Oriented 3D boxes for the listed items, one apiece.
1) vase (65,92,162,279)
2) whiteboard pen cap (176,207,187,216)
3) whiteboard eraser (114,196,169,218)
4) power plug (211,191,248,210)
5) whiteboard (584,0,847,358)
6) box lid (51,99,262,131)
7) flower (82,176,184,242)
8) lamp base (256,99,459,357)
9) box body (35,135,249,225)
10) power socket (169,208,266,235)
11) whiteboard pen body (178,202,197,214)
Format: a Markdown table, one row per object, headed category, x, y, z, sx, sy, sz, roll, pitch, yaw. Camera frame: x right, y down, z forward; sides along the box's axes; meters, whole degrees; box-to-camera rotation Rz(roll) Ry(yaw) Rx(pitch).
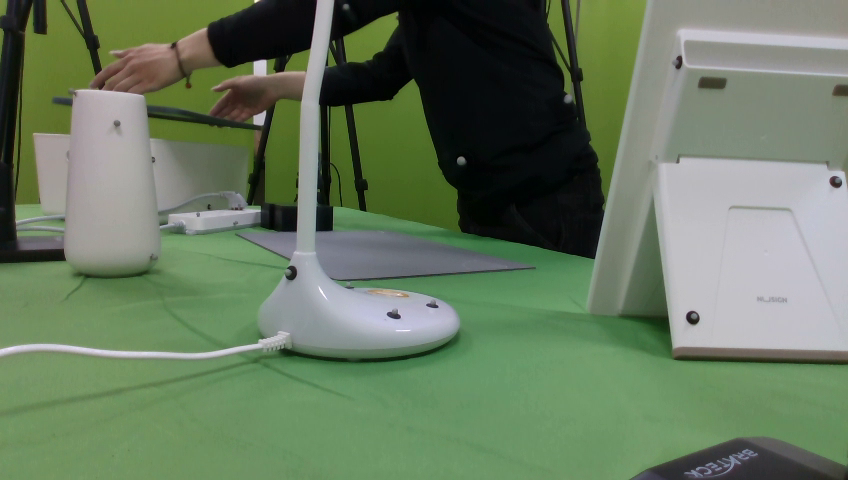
| category | x | y | z | sx | sy | sz | roll | pitch | yaw |
| --- | --- | --- | --- | --- | --- | --- | --- | --- | --- |
| vase | -0.347 | -0.060 | 0.673 | 0.098 | 0.200 | 0.098 | 1 | 7 | 0 |
| whiteboard pen cap | -0.511 | -0.061 | 1.274 | 0.018 | 0.018 | 0.033 | 1 | 11 | -12 |
| whiteboard eraser | -0.545 | -0.064 | 1.173 | 0.055 | 0.042 | 0.112 | 3 | 6 | 3 |
| power plug | -0.384 | -0.072 | 1.206 | 0.072 | 0.052 | 0.035 | 2 | 8 | 28 |
| whiteboard | 0.269 | -0.034 | 0.466 | 0.217 | 0.305 | 0.143 | 2 | 27 | -1 |
| box lid | -0.523 | -0.251 | 1.243 | 0.263 | 0.015 | 0.372 | 7 | 7 | 8 |
| flower | -0.613 | -0.068 | 1.288 | 0.044 | 0.038 | 0.361 | -5 | 22 | 9 |
| lamp base | -0.055 | -0.013 | 0.463 | 0.160 | 0.180 | 0.180 | 6 | 11 | 27 |
| box body | -0.561 | -0.127 | 1.258 | 0.254 | 0.160 | 0.365 | 4 | 8 | 13 |
| power socket | -0.379 | -0.038 | 1.128 | 0.072 | 0.032 | 0.227 | 4 | 8 | 18 |
| whiteboard pen body | -0.522 | -0.070 | 1.330 | 0.017 | 0.017 | 0.140 | 1 | 9 | -9 |
